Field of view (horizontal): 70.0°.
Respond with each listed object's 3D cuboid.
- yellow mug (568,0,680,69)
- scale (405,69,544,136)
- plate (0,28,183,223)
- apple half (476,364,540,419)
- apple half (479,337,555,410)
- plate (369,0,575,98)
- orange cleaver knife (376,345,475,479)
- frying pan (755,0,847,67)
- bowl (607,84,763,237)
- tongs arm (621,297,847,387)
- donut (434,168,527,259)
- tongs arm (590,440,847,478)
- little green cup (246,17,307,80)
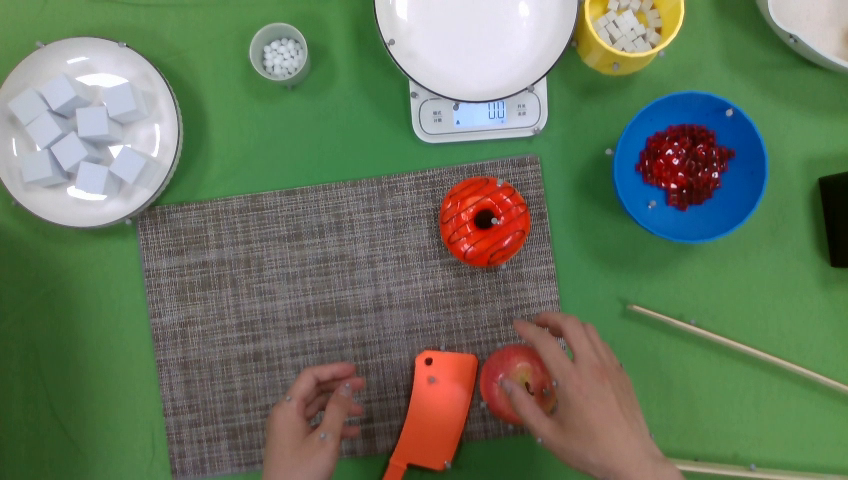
[{"bbox_3d":[0.197,-0.250,0.635,0.100,0.064,0.131,-41,88,1],"label":"yellow mug"},{"bbox_3d":[0.052,-0.217,0.655,0.149,0.031,0.201,-4,90,1],"label":"scale"},{"bbox_3d":[-0.361,-0.121,0.657,0.208,0.039,0.207,0,90,1],"label":"plate"},{"bbox_3d":[0.080,0.163,0.628,0.081,0.081,0.033,35,86,1],"label":"apple half"},{"bbox_3d":[0.102,0.130,0.629,0.080,0.075,0.053,34,87,4],"label":"apple half"},{"bbox_3d":[0.048,-0.248,0.622,0.209,0.038,0.209,0,90,0],"label":"plate"},{"bbox_3d":[-0.005,0.210,0.657,0.077,0.012,0.211,21,88,-6],"label":"orange cleaver knife"},{"bbox_3d":[0.526,-0.229,0.611,0.307,0.103,0.486,-35,81,2],"label":"frying pan"},{"bbox_3d":[0.257,-0.078,0.628,0.151,0.077,0.151,0,91,1],"label":"bowl"},{"bbox_3d":[0.393,0.139,0.649,0.387,0.028,0.028,22,83,1],"label":"tongs arm"},{"bbox_3d":[0.059,-0.028,0.644,0.099,0.048,0.099,0,91,3],"label":"donut"},{"bbox_3d":[0.374,0.224,0.647,0.385,0.026,0.050,8,86,1],"label":"tongs arm"},{"bbox_3d":[-0.156,-0.204,0.654,0.061,0.038,0.061,0,89,1],"label":"little green cup"}]
